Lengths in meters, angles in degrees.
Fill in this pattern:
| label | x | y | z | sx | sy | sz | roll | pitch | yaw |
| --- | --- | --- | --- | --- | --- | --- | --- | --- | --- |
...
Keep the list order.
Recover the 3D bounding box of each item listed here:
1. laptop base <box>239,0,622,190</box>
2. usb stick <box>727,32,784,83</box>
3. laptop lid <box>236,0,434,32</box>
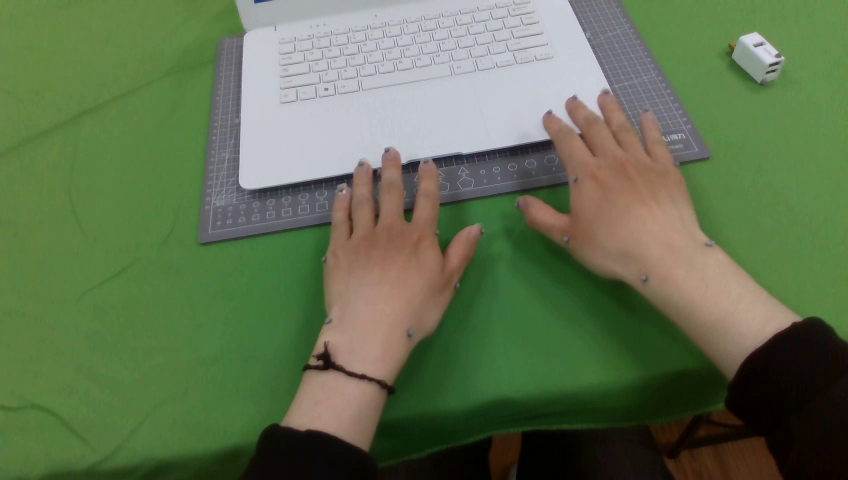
| label | x | y | z | sx | sy | sz | roll | pitch | yaw |
| --- | --- | --- | --- | --- | --- | --- | --- | --- | --- |
| laptop base | -0.008 | -0.163 | 0.613 | 0.354 | 0.023 | 0.233 | -10 | 57 | -1 |
| usb stick | 0.318 | -0.181 | 0.587 | 0.021 | 0.027 | 0.058 | -19 | 51 | -6 |
| laptop lid | -0.040 | -0.350 | 0.612 | 0.357 | 0.244 | 0.013 | -11 | 36 | 0 |
